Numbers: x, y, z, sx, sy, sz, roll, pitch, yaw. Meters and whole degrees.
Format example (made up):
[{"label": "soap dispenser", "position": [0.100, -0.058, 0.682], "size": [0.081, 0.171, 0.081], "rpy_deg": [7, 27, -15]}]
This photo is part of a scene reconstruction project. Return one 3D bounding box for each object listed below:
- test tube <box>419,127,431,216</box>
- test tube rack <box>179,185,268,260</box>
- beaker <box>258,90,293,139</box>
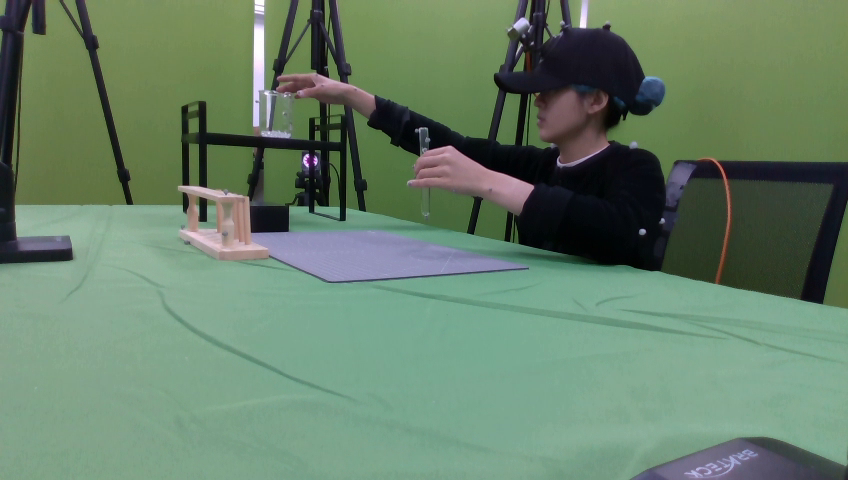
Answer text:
[{"label": "test tube", "position": [0.002, -0.115, 1.023], "size": [0.017, 0.150, 0.017], "rpy_deg": [-1, 7, 0]}, {"label": "test tube rack", "position": [-0.303, -0.031, 0.898], "size": [0.067, 0.085, 0.241], "rpy_deg": [-2, 9, -33]}, {"label": "beaker", "position": [-0.324, -0.274, 1.326], "size": [0.074, 0.100, 0.083], "rpy_deg": [-2, 9, -33]}]
